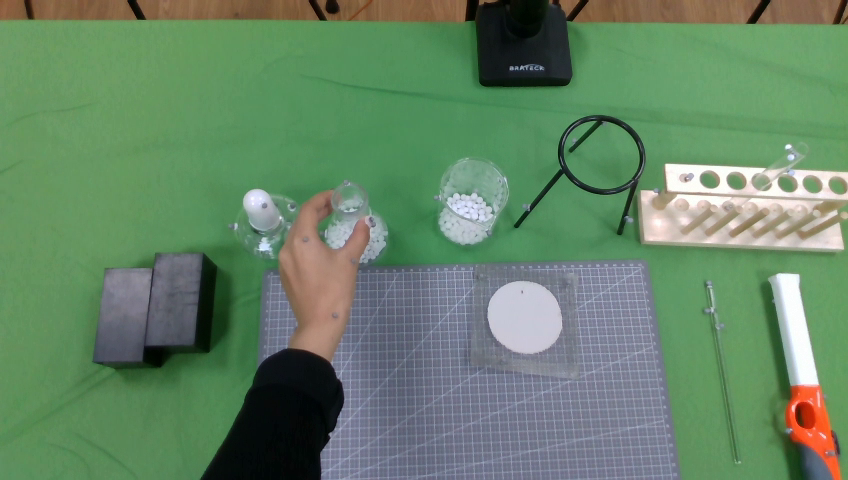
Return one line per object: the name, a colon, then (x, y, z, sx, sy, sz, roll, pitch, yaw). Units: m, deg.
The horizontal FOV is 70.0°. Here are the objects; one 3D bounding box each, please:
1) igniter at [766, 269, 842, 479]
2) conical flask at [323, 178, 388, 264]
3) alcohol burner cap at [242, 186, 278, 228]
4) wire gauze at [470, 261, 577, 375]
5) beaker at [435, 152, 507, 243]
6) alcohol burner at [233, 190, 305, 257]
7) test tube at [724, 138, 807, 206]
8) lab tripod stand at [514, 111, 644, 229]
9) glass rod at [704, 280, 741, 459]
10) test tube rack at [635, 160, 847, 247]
igniter: (0.420, 0.166, 0.669, 0.057, 0.025, 0.274, 3, 72, -11)
conical flask: (-0.078, -0.025, 0.659, 0.075, 0.122, 0.075, 1, 71, -2)
alcohol burner cap: (-0.171, -0.037, 0.625, 0.034, 0.048, 0.033, 1, 65, -2)
wire gauze: (0.115, 0.086, 0.688, 0.125, 0.011, 0.120, 7, 72, -3)
beaker: (0.051, -0.040, 0.682, 0.074, 0.101, 0.083, -19, 74, -8)
alcohol burner: (-0.172, -0.024, 0.658, 0.078, 0.120, 0.077, 0, 73, 0)
test tube: (0.367, -0.070, 0.660, 0.017, 0.151, 0.017, 0, 71, 1)
lab tripod stand: (0.176, -0.070, 0.679, 0.148, 0.132, 0.147, 1, 74, -2)
glass rod: (0.335, 0.141, 0.683, 0.008, 0.008, 0.198, -1, 72, -3)
test tube rack: (0.382, -0.040, 0.703, 0.242, 0.085, 0.066, 2, 71, -2)
